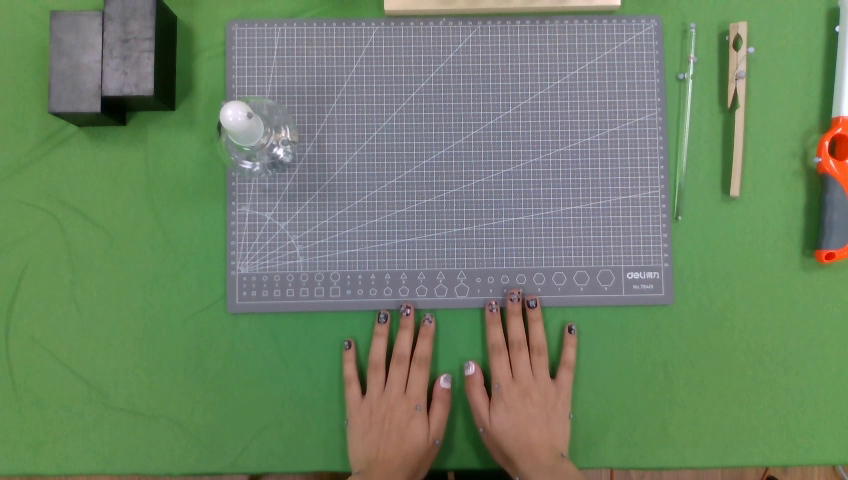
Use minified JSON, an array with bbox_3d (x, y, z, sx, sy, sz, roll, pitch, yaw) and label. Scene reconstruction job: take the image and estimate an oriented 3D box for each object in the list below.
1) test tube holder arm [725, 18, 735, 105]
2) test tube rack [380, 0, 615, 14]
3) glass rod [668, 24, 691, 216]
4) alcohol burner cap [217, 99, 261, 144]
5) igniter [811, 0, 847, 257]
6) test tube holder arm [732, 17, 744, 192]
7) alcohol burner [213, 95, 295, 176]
[{"bbox_3d":[0.316,-0.183,0.625,0.010,0.015,0.087,-1,87,36],"label":"test tube holder arm"},{"bbox_3d":[0.075,-0.275,0.592,0.242,0.085,0.066,-2,87,-1],"label":"test tube rack"},{"bbox_3d":[0.264,-0.124,0.624,0.008,0.008,0.199,5,89,-1],"label":"glass rod"},{"bbox_3d":[-0.163,-0.105,0.526,0.034,0.048,0.034,1,82,-4],"label":"alcohol burner cap"},{"bbox_3d":[0.425,-0.119,0.617,0.057,0.025,0.276,7,87,-10],"label":"igniter"},{"bbox_3d":[0.320,-0.138,0.619,0.013,0.015,0.178,-3,86,36],"label":"test tube holder arm"},{"bbox_3d":[-0.163,-0.101,0.562,0.078,0.119,0.078,0,86,2],"label":"alcohol burner"}]
